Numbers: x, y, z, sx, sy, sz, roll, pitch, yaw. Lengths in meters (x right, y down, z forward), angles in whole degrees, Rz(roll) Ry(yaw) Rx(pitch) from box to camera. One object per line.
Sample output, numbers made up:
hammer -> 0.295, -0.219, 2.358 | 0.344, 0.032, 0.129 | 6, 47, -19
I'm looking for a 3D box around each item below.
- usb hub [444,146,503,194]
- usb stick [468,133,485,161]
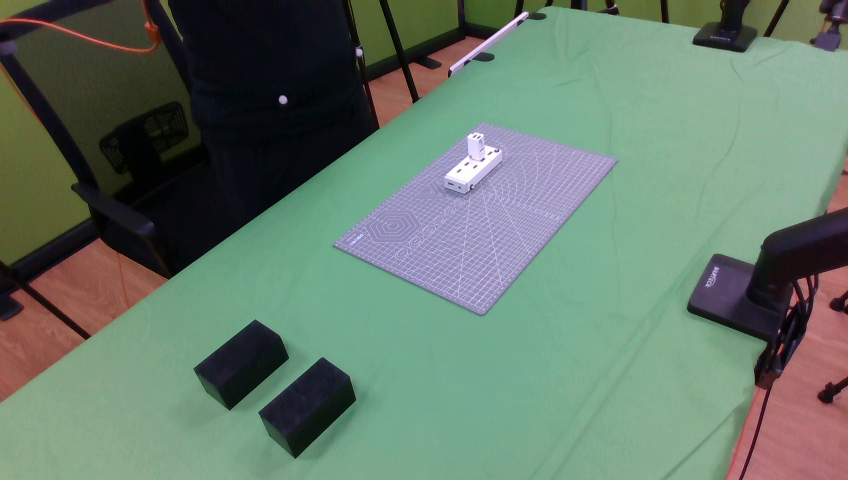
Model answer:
usb hub -> 0.091, -0.129, 1.102 | 0.049, 0.025, 0.125 | 23, 49, 30
usb stick -> 0.095, -0.162, 1.096 | 0.027, 0.059, 0.021 | 21, 48, 27
